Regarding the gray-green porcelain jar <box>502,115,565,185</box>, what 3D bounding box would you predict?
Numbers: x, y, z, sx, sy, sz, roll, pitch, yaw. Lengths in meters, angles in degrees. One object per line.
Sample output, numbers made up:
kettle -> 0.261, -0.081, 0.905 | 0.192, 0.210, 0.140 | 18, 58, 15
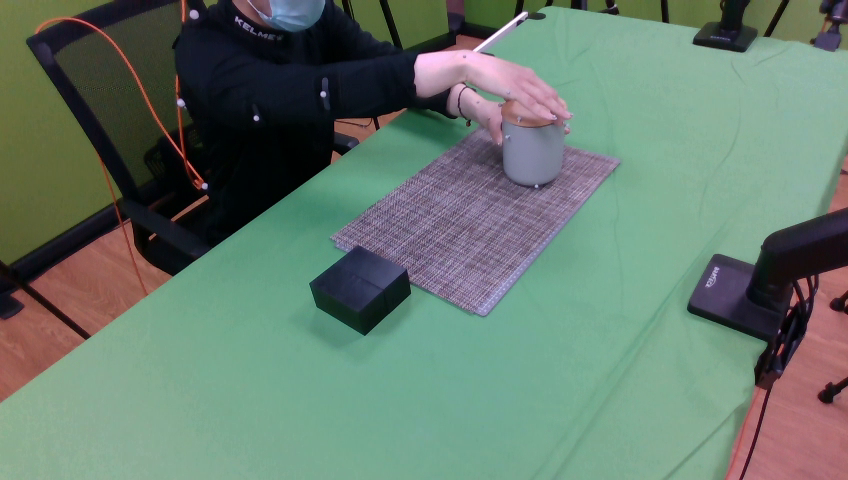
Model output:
gray-green porcelain jar -> 0.189, -0.168, 1.051 | 0.106, 0.127, 0.105 | -4, 41, 4

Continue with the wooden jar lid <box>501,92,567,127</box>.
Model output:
wooden jar lid -> 0.183, -0.214, 1.011 | 0.108, 0.021, 0.108 | -5, 40, 5
